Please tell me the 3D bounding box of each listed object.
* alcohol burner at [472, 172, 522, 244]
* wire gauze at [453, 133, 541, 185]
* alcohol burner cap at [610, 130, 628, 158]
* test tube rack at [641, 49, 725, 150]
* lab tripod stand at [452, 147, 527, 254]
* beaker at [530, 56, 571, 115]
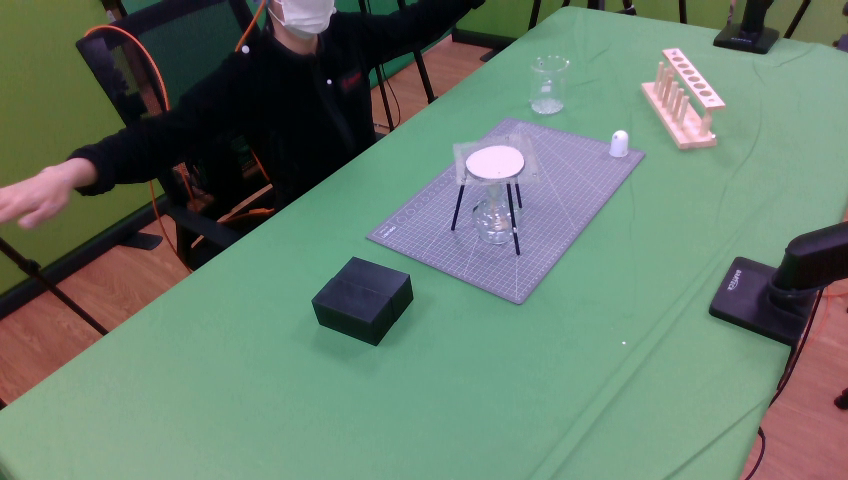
[{"bbox_3d":[0.112,-0.053,0.942,0.078,0.119,0.077,-6,40,5],"label":"alcohol burner"},{"bbox_3d":[0.105,-0.120,0.902,0.125,0.011,0.121,-5,41,6],"label":"wire gauze"},{"bbox_3d":[0.359,-0.177,1.106,0.034,0.048,0.033,-5,41,5],"label":"alcohol burner cap"},{"bbox_3d":[0.495,-0.279,1.175,0.067,0.085,0.241,-5,41,3],"label":"test tube rack"},{"bbox_3d":[0.111,-0.066,0.943,0.148,0.132,0.147,-5,42,5],"label":"lab tripod stand"},{"bbox_3d":[0.259,-0.316,1.244,0.084,0.101,0.073,-12,41,-5],"label":"beaker"}]
